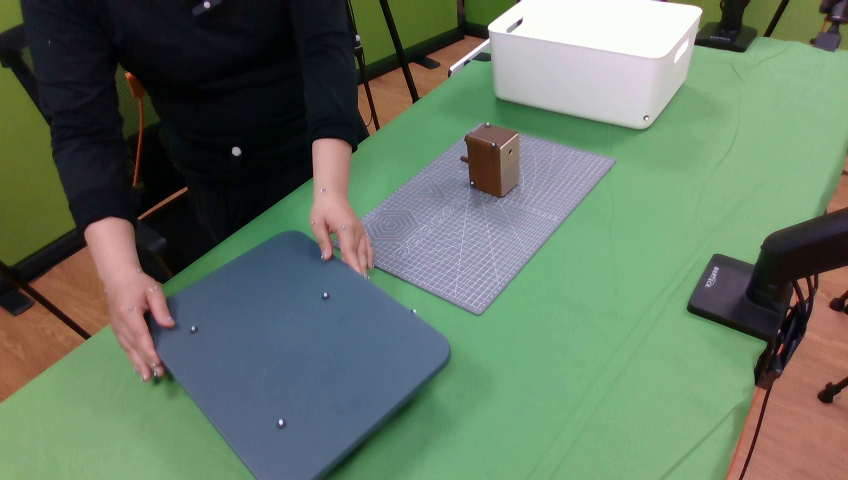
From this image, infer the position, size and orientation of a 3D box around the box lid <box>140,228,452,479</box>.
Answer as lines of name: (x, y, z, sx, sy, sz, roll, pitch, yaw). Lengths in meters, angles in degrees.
box lid: (-0.171, 0.125, 0.767, 0.264, 0.015, 0.368, -36, 49, -27)

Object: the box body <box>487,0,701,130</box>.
box body: (0.345, -0.379, 1.257, 0.361, 0.161, 0.255, 20, 48, 29)

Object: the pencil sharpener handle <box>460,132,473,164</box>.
pencil sharpener handle: (0.077, -0.163, 1.062, 0.030, 0.068, 0.036, 23, 44, 32)

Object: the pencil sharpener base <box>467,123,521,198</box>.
pencil sharpener base: (0.119, -0.138, 1.044, 0.076, 0.107, 0.061, 23, 50, 32)
